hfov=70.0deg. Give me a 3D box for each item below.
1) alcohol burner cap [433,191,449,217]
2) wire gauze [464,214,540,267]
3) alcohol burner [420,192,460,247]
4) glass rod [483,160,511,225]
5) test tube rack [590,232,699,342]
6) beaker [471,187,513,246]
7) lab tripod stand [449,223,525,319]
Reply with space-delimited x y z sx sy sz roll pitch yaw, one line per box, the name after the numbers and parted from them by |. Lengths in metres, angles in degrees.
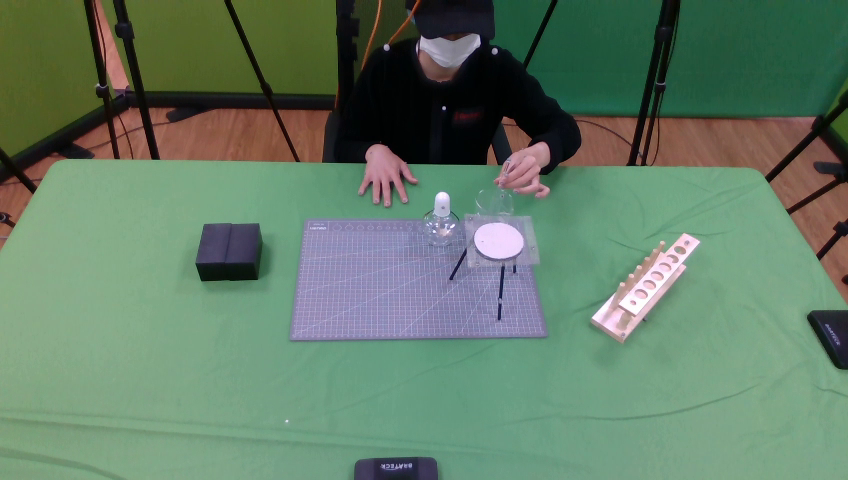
0.033 -0.070 1.150 0.034 0.048 0.033 0 45 0 | alcohol burner cap
0.131 -0.002 1.034 0.121 0.011 0.124 1 45 -2 | wire gauze
0.032 -0.046 1.176 0.078 0.120 0.077 2 44 -1 | alcohol burner
0.137 -0.084 1.157 0.008 0.200 0.008 5 54 -7 | glass rod
0.407 0.074 1.112 0.066 0.085 0.242 35 53 26 | test tube rack
0.134 -0.042 1.190 0.083 0.101 0.074 34 53 25 | beaker
0.120 0.046 1.080 0.148 0.132 0.147 1 47 -1 | lab tripod stand
